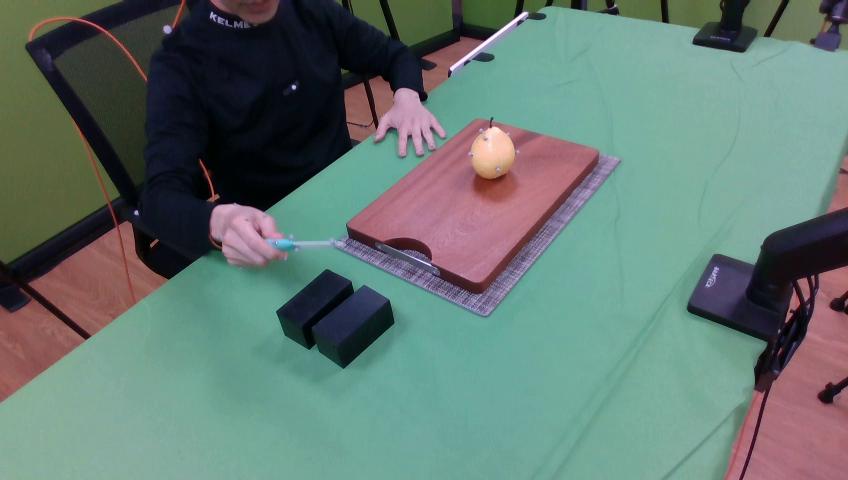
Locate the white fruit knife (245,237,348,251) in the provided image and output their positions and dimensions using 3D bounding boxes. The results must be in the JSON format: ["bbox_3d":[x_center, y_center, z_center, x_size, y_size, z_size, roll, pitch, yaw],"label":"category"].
[{"bbox_3d":[-0.168,0.003,0.774,0.206,0.028,0.016,-4,75,41],"label":"white fruit knife"}]

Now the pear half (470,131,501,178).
[{"bbox_3d":[0.099,-0.141,1.022,0.031,0.088,0.070,-35,54,-30],"label":"pear half"}]

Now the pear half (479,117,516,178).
[{"bbox_3d":[0.126,-0.166,1.031,0.056,0.110,0.075,-34,51,-29],"label":"pear half"}]
